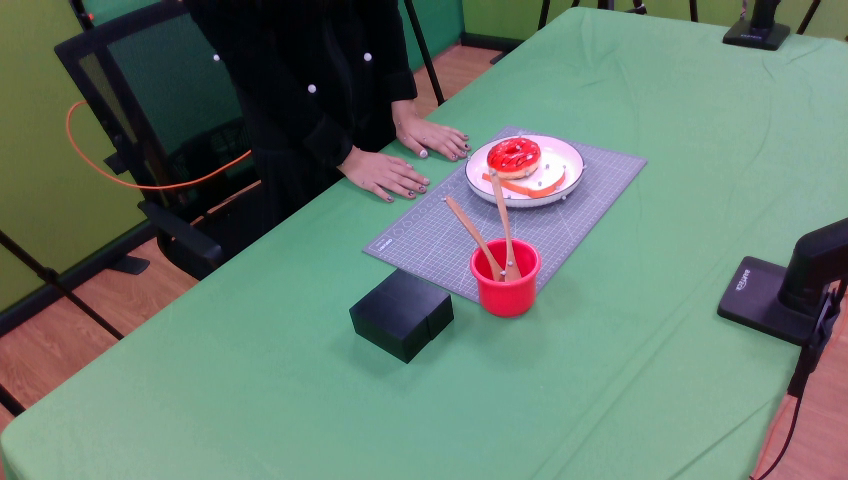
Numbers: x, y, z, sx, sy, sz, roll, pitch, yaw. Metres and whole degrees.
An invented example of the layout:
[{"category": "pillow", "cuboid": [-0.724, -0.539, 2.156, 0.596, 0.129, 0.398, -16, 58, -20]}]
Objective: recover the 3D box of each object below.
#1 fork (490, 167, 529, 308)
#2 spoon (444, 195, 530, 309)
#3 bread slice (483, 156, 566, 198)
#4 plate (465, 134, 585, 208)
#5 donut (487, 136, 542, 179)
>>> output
[{"category": "fork", "cuboid": [0.118, -0.006, 0.857, 0.028, 0.018, 0.206, -7, 81, -14]}, {"category": "spoon", "cuboid": [0.087, 0.015, 0.849, 0.042, 0.021, 0.193, -32, 89, -30]}, {"category": "bread slice", "cuboid": [0.187, -0.120, 1.077, 0.130, 0.019, 0.105, 27, 53, 37]}, {"category": "plate", "cuboid": [0.178, -0.120, 1.075, 0.209, 0.038, 0.208, -5, 40, 5]}, {"category": "donut", "cuboid": [0.159, -0.147, 1.068, 0.099, 0.048, 0.098, -9, 39, 8]}]
